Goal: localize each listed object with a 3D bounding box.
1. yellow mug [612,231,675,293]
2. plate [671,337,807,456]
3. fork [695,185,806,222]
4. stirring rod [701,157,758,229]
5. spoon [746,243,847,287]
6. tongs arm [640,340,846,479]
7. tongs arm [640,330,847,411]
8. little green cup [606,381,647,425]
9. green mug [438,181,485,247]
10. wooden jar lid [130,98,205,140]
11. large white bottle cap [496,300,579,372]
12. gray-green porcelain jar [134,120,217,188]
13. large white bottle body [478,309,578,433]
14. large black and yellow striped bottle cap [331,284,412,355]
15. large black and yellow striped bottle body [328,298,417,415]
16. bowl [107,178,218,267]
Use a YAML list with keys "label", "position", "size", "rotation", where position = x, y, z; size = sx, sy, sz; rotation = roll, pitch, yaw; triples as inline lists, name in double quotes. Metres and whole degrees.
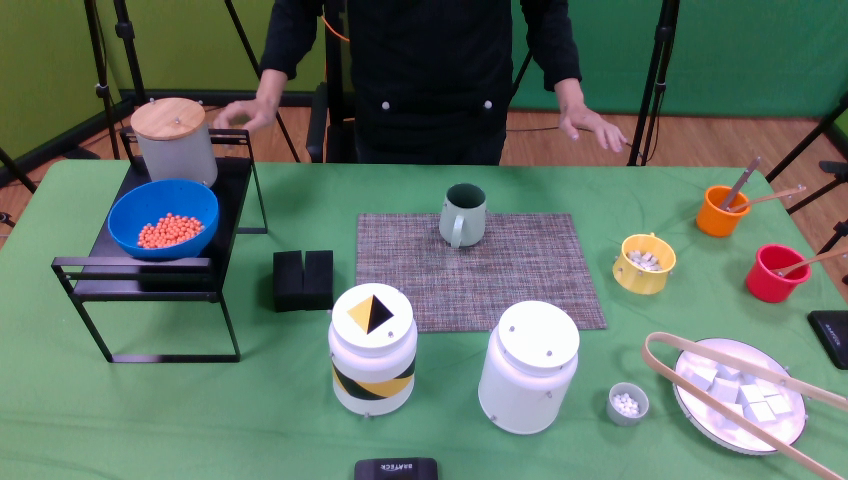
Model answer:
- label: "yellow mug"
  position: [0.424, 0.033, 1.168]
  size: [0.100, 0.064, 0.130]
  rotation: [18, 47, 13]
- label: "plate"
  position: [0.503, 0.254, 0.984]
  size: [0.208, 0.039, 0.206]
  rotation: [2, 46, -2]
- label: "fork"
  position: [0.657, -0.074, 1.230]
  size: [0.207, 0.019, 0.028]
  rotation: [-23, 36, 37]
- label: "stirring rod"
  position: [0.634, -0.097, 1.257]
  size: [0.014, 0.006, 0.176]
  rotation: [38, 97, 30]
- label: "spoon"
  position: [0.702, 0.044, 1.126]
  size: [0.194, 0.022, 0.041]
  rotation: [-29, 38, 30]
- label: "tongs arm"
  position: [0.500, 0.277, 0.919]
  size: [0.386, 0.028, 0.028]
  rotation: [34, 59, 22]
- label: "tongs arm"
  position: [0.543, 0.226, 0.969]
  size: [0.384, 0.026, 0.050]
  rotation: [23, 52, 14]
- label: "little green cup"
  position: [0.319, 0.261, 0.962]
  size: [0.061, 0.039, 0.061]
  rotation: [2, 45, -2]
- label: "green mug"
  position: [0.071, -0.039, 1.177]
  size: [0.092, 0.105, 0.124]
  rotation: [12, 47, 7]
- label: "wooden jar lid"
  position: [-0.393, -0.183, 0.934]
  size: [0.108, 0.021, 0.107]
  rotation: [2, 44, -2]
- label: "large white bottle cap"
  position: [0.160, 0.133, 0.852]
  size: [0.115, 0.018, 0.114]
  rotation: [3, 46, -3]
- label: "gray-green porcelain jar"
  position: [-0.397, -0.141, 0.979]
  size: [0.106, 0.127, 0.105]
  rotation: [2, 47, -2]
- label: "large white bottle body"
  position: [0.156, 0.192, 0.913]
  size: [0.131, 0.185, 0.130]
  rotation: [2, 46, -2]
- label: "large black and yellow striped bottle cap"
  position: [-0.073, 0.111, 0.858]
  size: [0.115, 0.019, 0.114]
  rotation: [2, 46, -2]
- label: "large black and yellow striped bottle body"
  position: [-0.078, 0.167, 0.920]
  size: [0.131, 0.185, 0.130]
  rotation: [2, 46, -2]
- label: "bowl"
  position: [-0.374, -0.014, 0.893]
  size: [0.151, 0.077, 0.150]
  rotation: [2, 46, -2]
